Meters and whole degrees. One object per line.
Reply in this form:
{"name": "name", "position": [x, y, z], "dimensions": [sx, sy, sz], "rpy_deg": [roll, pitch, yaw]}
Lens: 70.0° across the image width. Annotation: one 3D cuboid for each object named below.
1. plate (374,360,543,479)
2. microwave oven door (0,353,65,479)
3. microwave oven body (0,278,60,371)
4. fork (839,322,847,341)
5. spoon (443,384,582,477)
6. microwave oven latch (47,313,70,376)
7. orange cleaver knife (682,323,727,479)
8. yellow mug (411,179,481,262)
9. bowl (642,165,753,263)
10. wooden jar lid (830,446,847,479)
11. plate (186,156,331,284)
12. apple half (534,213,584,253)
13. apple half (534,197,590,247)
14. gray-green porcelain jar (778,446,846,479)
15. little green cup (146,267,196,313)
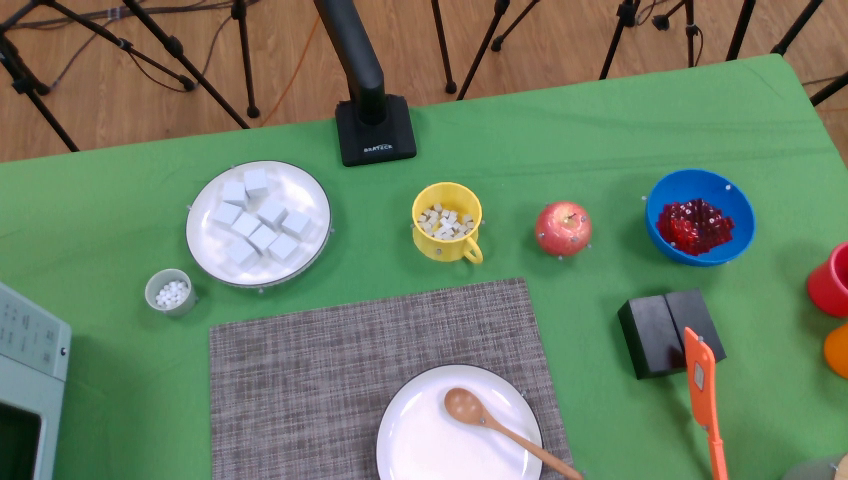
{"name": "plate", "position": [0.042, 0.257, 0.761], "dimensions": [0.209, 0.038, 0.207], "rpy_deg": [0, 65, -1]}
{"name": "microwave oven door", "position": [-0.462, 0.290, 0.610], "dimensions": [0.039, 0.245, 0.352], "rpy_deg": [-6, 65, -3]}
{"name": "microwave oven body", "position": [-0.612, 0.269, 0.623], "dimensions": [0.326, 0.262, 0.438], "rpy_deg": [-6, 66, -4]}
{"name": "fork", "position": [0.583, 0.159, 0.756], "dimensions": [0.028, 0.019, 0.206], "rpy_deg": [8, 22, 1]}
{"name": "spoon", "position": [0.108, 0.240, 0.756], "dimensions": [0.192, 0.022, 0.041], "rpy_deg": [26, 61, 24]}
{"name": "microwave oven latch", "position": [-0.485, 0.137, 0.793], "dimensions": [0.030, 0.030, 0.078], "rpy_deg": [-5, 66, -4]}
{"name": "orange cleaver knife", "position": [0.352, 0.210, 0.762], "dimensions": [0.012, 0.077, 0.212], "rpy_deg": [-12, 98, -2]}
{"name": "yellow mug", "position": [0.040, -0.020, 0.879], "dimensions": [0.100, 0.064, 0.130], "rpy_deg": [-36, 71, -16]}
{"name": "bowl", "position": [0.383, -0.026, 0.879], "dimensions": [0.151, 0.077, 0.150], "rpy_deg": [0, 65, 0]}
{"name": "wooden jar lid", "position": [0.486, 0.271, 0.647], "dimensions": [0.108, 0.021, 0.107], "rpy_deg": [1, 67, -1]}
{"name": "plate", "position": [-0.239, -0.028, 0.895], "dimensions": [0.208, 0.039, 0.206], "rpy_deg": [0, 65, 0]}
{"name": "apple half", "position": [0.186, 0.000, 0.867], "dimensions": [0.081, 0.082, 0.032], "rpy_deg": [30, 65, 13]}
{"name": "apple half", "position": [0.206, -0.029, 0.882], "dimensions": [0.080, 0.075, 0.053], "rpy_deg": [29, 64, 16]}
{"name": "gray-green porcelain jar", "position": [0.486, 0.299, 0.703], "dimensions": [0.106, 0.127, 0.105], "rpy_deg": [0, 64, 0]}
{"name": "little green cup", "position": [-0.349, 0.072, 0.844], "dimensions": [0.061, 0.039, 0.061], "rpy_deg": [1, 65, -2]}
